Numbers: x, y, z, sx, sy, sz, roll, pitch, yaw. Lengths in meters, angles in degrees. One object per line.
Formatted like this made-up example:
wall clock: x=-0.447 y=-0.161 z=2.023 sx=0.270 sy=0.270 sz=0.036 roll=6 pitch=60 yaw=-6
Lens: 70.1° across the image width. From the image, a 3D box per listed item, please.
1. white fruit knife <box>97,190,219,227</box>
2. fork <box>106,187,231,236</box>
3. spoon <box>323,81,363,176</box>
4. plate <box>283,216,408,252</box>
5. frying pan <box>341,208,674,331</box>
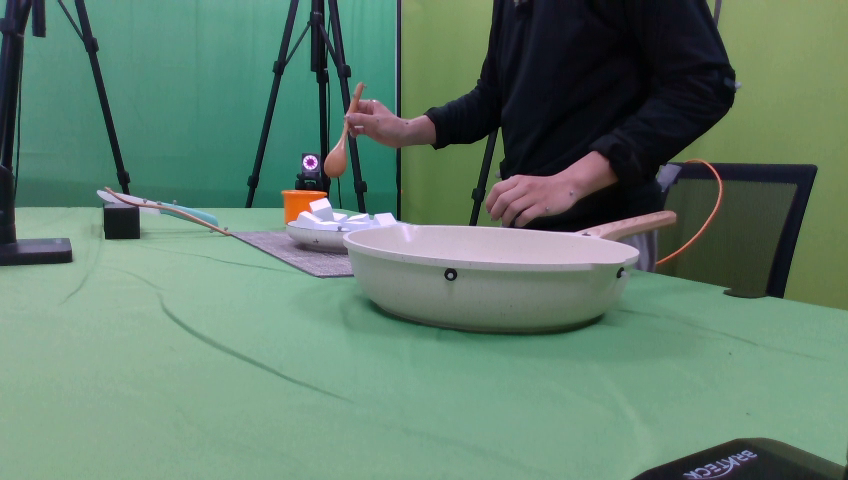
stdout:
white fruit knife: x=-0.468 y=-0.057 z=1.079 sx=0.208 sy=0.027 sz=0.016 roll=16 pitch=-1 yaw=-29
fork: x=-0.428 y=-0.046 z=1.021 sx=0.208 sy=0.018 sz=0.028 roll=19 pitch=-7 yaw=-26
spoon: x=-0.152 y=-0.214 z=1.158 sx=0.042 sy=0.193 sz=0.021 roll=18 pitch=-9 yaw=-17
plate: x=-0.119 y=-0.010 z=0.968 sx=0.208 sy=0.039 sz=0.207 roll=3 pitch=7 yaw=0
frying pan: x=0.144 y=0.008 z=0.677 sx=0.490 sy=0.102 sz=0.305 roll=-13 pitch=16 yaw=-36
